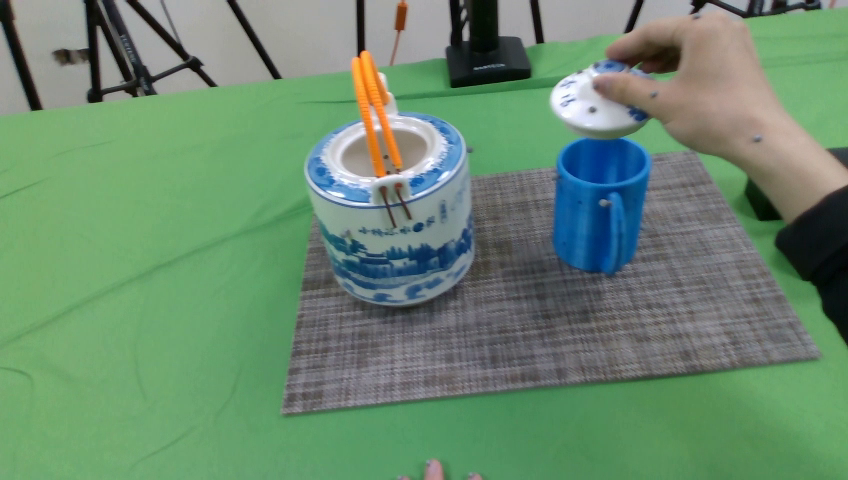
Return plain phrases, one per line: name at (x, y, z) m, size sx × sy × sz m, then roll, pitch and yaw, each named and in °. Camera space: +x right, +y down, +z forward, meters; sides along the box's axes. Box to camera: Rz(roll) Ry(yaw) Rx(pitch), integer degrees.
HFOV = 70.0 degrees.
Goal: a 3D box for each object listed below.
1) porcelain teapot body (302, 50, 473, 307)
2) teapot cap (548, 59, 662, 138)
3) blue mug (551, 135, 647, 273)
porcelain teapot body at (-0.038, -0.074, 0.567) m, size 0.145 × 0.227 × 0.203 m, roll -12°, pitch 43°, yaw -3°
teapot cap at (0.138, -0.114, 0.462) m, size 0.085 × 0.044 × 0.084 m, roll -1°, pitch 44°, yaw 2°
blue mug at (0.165, -0.025, 0.570) m, size 0.082 × 0.107 × 0.115 m, roll -7°, pitch 43°, yaw 3°
